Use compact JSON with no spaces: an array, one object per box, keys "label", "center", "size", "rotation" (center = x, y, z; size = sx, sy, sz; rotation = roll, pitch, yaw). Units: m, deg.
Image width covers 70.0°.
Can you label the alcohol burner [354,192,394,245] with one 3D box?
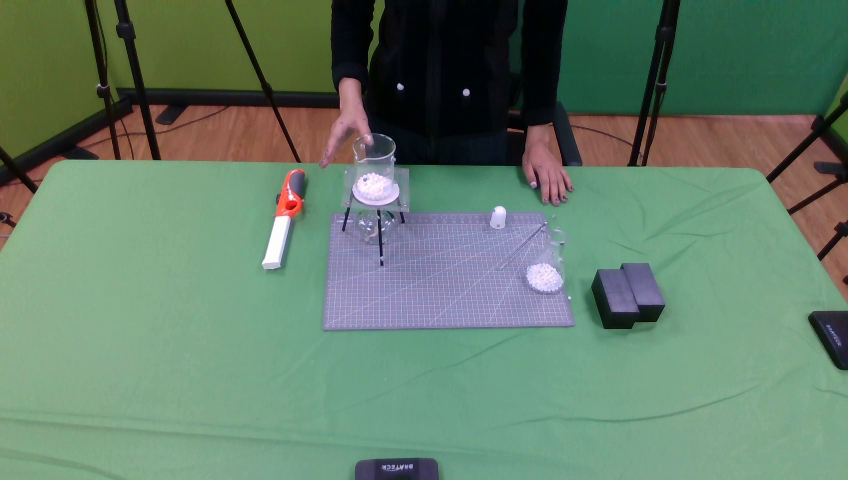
[{"label":"alcohol burner","center":[-0.096,-0.048,1.171],"size":[0.078,0.119,0.077],"rotation":[4,45,-4]}]

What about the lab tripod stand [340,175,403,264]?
[{"label":"lab tripod stand","center":[-0.093,-0.050,1.160],"size":[0.148,0.132,0.147],"rotation":[2,44,-2]}]

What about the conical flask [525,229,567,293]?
[{"label":"conical flask","center":[0.231,0.036,1.110],"size":[0.075,0.122,0.075],"rotation":[2,46,-2]}]

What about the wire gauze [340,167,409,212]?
[{"label":"wire gauze","center":[-0.091,-0.095,1.111],"size":[0.125,0.011,0.120],"rotation":[1,43,-2]}]

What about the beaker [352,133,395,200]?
[{"label":"beaker","center":[-0.091,-0.126,1.074],"size":[0.074,0.101,0.084],"rotation":[26,48,21]}]

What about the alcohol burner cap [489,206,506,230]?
[{"label":"alcohol burner cap","center":[0.152,-0.047,1.241],"size":[0.034,0.048,0.033],"rotation":[2,45,-2]}]

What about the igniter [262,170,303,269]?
[{"label":"igniter","center":[-0.283,-0.050,1.222],"size":[0.057,0.025,0.275],"rotation":[-5,45,6]}]

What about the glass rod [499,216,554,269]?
[{"label":"glass rod","center":[0.208,0.002,1.219],"size":[0.008,0.008,0.199],"rotation":[32,52,25]}]
